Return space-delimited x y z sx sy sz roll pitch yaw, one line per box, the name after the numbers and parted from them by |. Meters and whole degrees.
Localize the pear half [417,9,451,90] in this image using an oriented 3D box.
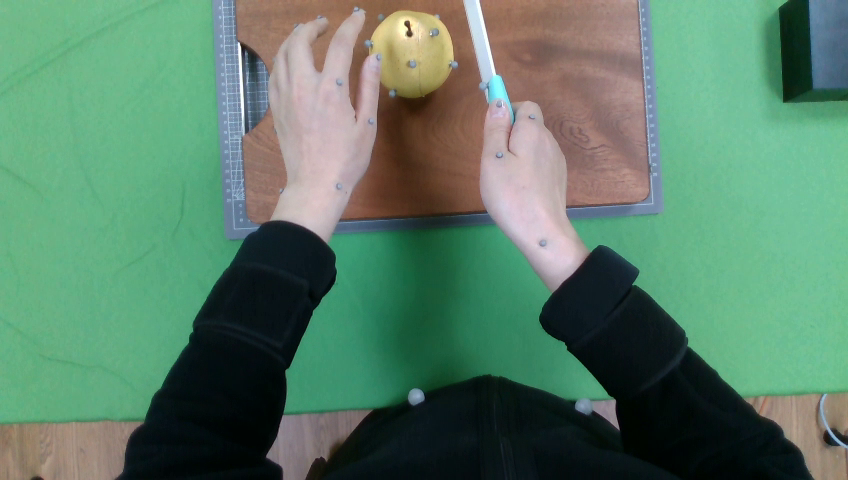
0.010 -0.176 0.556 0.031 0.088 0.070 0 83 0 | pear half

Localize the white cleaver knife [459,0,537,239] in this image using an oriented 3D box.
0.049 -0.141 0.479 0.021 0.065 0.287 -13 97 -2 | white cleaver knife

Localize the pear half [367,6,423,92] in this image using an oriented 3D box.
-0.025 -0.178 0.547 0.056 0.110 0.076 -1 84 1 | pear half
